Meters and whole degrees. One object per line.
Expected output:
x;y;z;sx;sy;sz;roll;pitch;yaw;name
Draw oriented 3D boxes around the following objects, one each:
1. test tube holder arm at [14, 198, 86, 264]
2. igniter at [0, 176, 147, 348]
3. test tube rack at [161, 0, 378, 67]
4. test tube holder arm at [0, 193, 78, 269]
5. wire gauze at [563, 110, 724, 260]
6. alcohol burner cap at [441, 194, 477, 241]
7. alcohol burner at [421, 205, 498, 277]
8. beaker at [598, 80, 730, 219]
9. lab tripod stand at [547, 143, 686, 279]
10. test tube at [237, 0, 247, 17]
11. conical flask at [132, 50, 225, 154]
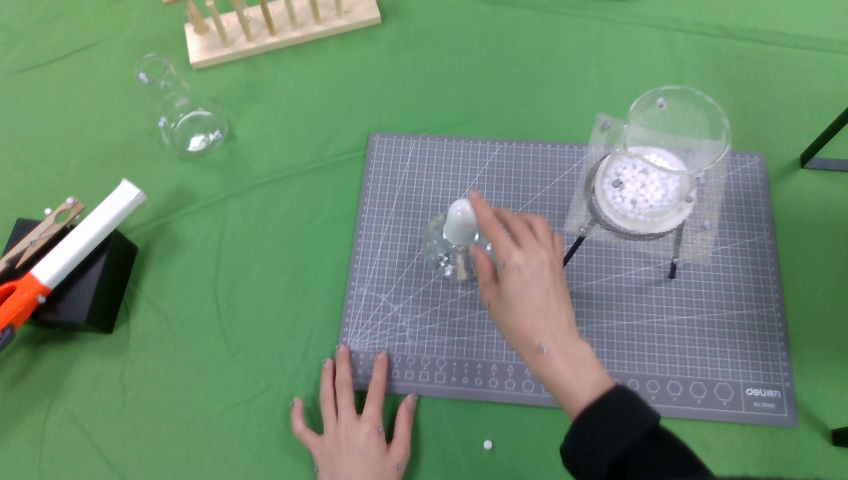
-0.384;-0.009;0.618;0.010;0.015;0.087;47;75;-13;test tube holder arm
-0.386;0.044;0.595;0.057;0.025;0.276;32;72;24;igniter
-0.185;-0.294;0.741;0.242;0.086;0.066;-16;68;-4;test tube rack
-0.417;0.019;0.605;0.013;0.015;0.178;46;75;-13;test tube holder arm
0.194;-0.050;0.527;0.121;0.011;0.124;17;68;6;wire gauze
0.034;-0.024;0.566;0.034;0.048;0.033;2;61;-3;alcohol burner cap
0.035;-0.008;0.599;0.078;0.120;0.077;0;66;1;alcohol burner
0.181;-0.065;0.481;0.084;0.101;0.073;-19;69;-5;beaker
0.190;-0.021;0.587;0.148;0.132;0.147;0;67;1;lab tripod stand
-0.230;-0.319;0.699;0.017;0.151;0.017;0;62;1;test tube
-0.275;-0.155;0.669;0.075;0.123;0.075;-1;67;3;conical flask
